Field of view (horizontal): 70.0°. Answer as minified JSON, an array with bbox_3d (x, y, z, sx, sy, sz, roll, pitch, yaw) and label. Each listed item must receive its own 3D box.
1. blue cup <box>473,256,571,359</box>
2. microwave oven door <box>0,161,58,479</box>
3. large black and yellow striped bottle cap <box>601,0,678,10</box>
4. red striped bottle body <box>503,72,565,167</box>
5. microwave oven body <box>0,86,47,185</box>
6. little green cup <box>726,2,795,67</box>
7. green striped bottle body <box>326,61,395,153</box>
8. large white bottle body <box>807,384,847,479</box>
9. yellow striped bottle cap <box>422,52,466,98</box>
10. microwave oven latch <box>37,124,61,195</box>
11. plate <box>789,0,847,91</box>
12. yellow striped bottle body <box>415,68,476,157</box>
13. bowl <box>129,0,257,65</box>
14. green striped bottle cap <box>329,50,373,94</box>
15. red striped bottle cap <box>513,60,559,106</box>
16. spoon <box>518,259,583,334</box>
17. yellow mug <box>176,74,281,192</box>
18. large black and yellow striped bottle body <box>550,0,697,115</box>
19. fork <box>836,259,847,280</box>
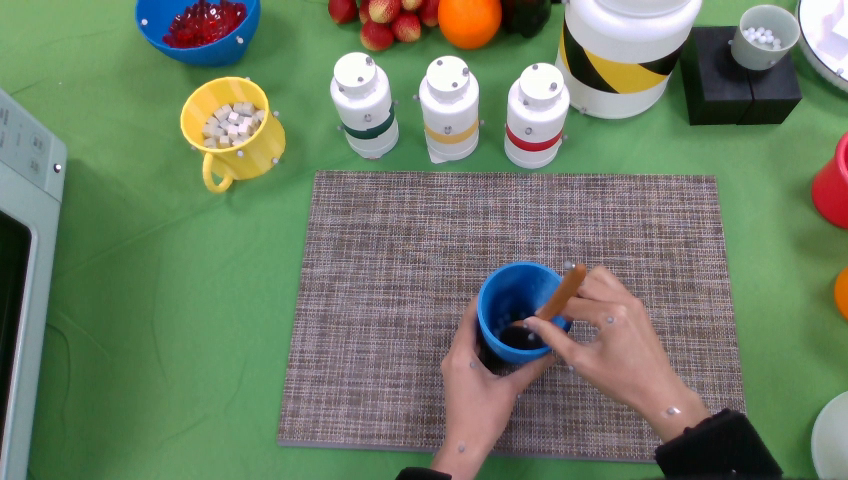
[{"bbox_3d":[0.087,0.072,0.572,0.092,0.101,0.092,-1,68,2],"label":"blue cup"},{"bbox_3d":[-0.423,0.073,0.519,0.039,0.245,0.353,-8,68,2],"label":"microwave oven door"},{"bbox_3d":[0.202,-0.266,0.567,0.115,0.019,0.114,-2,67,4],"label":"large black and yellow striped bottle cap"},{"bbox_3d":[0.117,-0.135,0.647,0.063,0.120,0.062,-3,65,7],"label":"red striped bottle body"},{"bbox_3d":[-0.572,0.055,0.542,0.326,0.262,0.438,-8,68,1],"label":"microwave oven body"},{"bbox_3d":[0.359,-0.219,0.652,0.061,0.039,0.061,-1,67,3],"label":"little green cup"},{"bbox_3d":[-0.070,-0.152,0.668,0.063,0.120,0.062,-1,67,4],"label":"green striped bottle body"},{"bbox_3d":[0.409,0.161,0.471,0.130,0.186,0.129,-2,67,4],"label":"large white bottle body"},{"bbox_3d":[0.020,-0.167,0.611,0.044,0.019,0.044,-1,70,3],"label":"yellow striped bottle cap"},{"bbox_3d":[-0.439,-0.091,0.694,0.030,0.030,0.078,-6,69,2],"label":"microwave oven latch"},{"bbox_3d":[0.530,-0.245,0.705,0.209,0.038,0.207,-1,69,4],"label":"plate"},{"bbox_3d":[0.024,-0.147,0.658,0.063,0.121,0.062,-2,67,5],"label":"yellow striped bottle body"},{"bbox_3d":[-0.273,-0.273,0.754,0.151,0.077,0.150,-1,68,3],"label":"bowl"},{"bbox_3d":[-0.075,-0.172,0.619,0.044,0.020,0.044,-1,67,3],"label":"green striped bottle cap"},{"bbox_3d":[0.111,-0.156,0.599,0.044,0.018,0.044,0,67,0],"label":"red striped bottle cap"},{"bbox_3d":[0.096,0.060,0.515,0.041,0.194,0.021,27,66,4],"label":"spoon"},{"bbox_3d":[-0.227,-0.117,0.694,0.100,0.064,0.130,11,70,8],"label":"yellow mug"},{"bbox_3d":[0.209,-0.235,0.646,0.131,0.185,0.130,-2,68,4],"label":"large black and yellow striped bottle body"},{"bbox_3d":[0.469,0.055,0.529,0.028,0.019,0.205,-33,25,-14],"label":"fork"}]
